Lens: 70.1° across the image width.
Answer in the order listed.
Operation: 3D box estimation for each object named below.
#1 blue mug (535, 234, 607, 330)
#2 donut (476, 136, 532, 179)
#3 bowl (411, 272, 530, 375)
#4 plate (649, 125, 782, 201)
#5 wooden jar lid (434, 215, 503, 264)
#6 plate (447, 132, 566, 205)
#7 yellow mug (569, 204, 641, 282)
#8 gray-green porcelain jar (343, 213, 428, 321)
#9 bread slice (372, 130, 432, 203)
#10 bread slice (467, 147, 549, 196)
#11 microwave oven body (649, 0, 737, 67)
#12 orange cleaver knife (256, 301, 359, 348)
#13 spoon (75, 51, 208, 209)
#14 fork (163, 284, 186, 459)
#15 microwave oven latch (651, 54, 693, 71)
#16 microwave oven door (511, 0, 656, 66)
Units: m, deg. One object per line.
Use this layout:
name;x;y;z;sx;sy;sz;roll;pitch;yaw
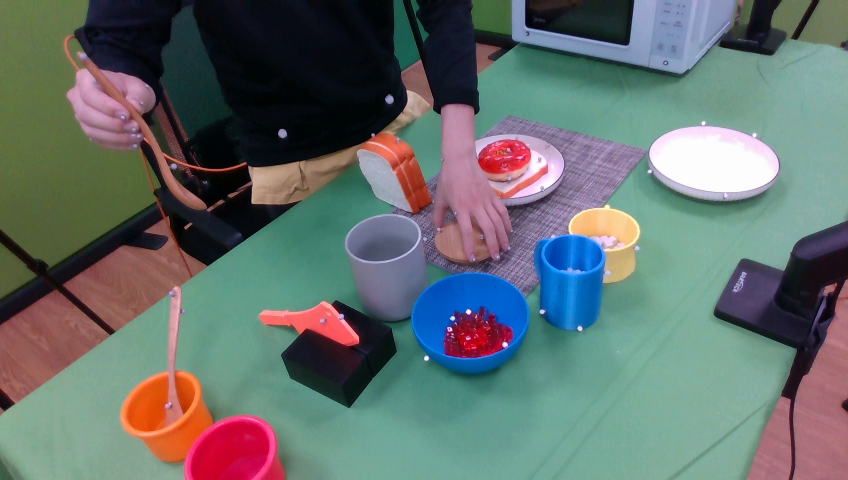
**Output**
blue mug;0.191;0.048;0.824;0.082;0.106;0.115;-26;44;-20
donut;0.140;-0.146;1.058;0.099;0.048;0.098;-6;41;6
bowl;0.061;0.120;0.780;0.151;0.077;0.150;-4;40;4
plate;0.493;-0.127;1.036;0.207;0.039;0.206;-4;41;4
wooden jar lid;0.070;0.001;0.956;0.108;0.021;0.108;-5;40;4
plate;0.146;-0.124;1.076;0.209;0.038;0.208;-3;41;3
yellow mug;0.268;-0.005;0.904;0.099;0.064;0.130;7;41;15
gray-green porcelain jar;-0.049;0.042;0.849;0.106;0.127;0.105;-4;41;4
bread slice;-0.041;-0.127;1.039;0.106;0.135;0.018;29;63;33
bread slice;0.156;-0.128;1.085;0.132;0.019;0.104;-35;48;-23
microwave oven body;0.475;-0.602;1.411;0.438;0.261;0.327;23;50;32
orange cleaver knife;-0.161;0.116;0.813;0.210;0.077;0.012;-9;29;48
spoon;-0.280;-0.104;0.611;0.022;0.195;0.041;-33;37;-13
fork;-0.302;0.157;0.733;0.028;0.019;0.207;-3;84;13
microwave oven latch;0.531;-0.386;1.301;0.078;0.029;0.030;26;51;33
microwave oven door;0.351;-0.539;1.348;0.353;0.245;0.039;24;50;31
